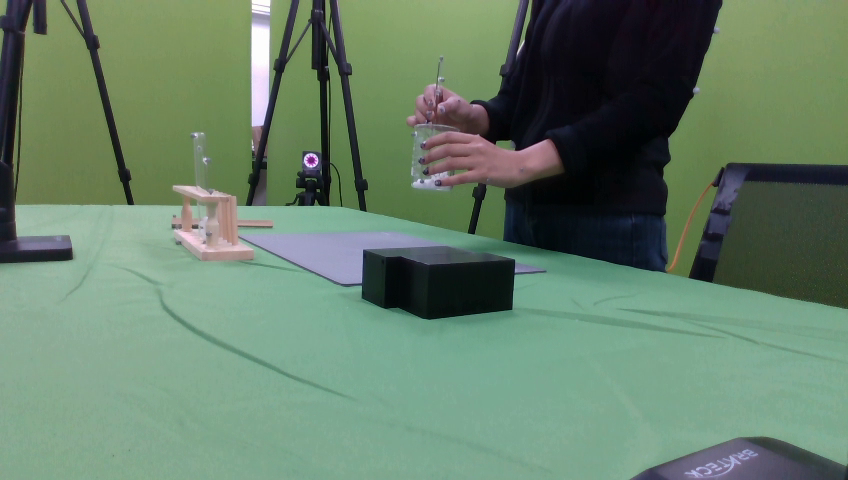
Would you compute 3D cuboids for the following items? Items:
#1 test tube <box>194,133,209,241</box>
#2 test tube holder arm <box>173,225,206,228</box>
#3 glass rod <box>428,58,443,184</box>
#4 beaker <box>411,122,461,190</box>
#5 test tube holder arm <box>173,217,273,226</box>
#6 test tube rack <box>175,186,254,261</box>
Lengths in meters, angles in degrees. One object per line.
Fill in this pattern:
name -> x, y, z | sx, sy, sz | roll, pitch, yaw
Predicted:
test tube -> -0.307, -0.074, 0.842 | 0.017, 0.150, 0.017 | -3, 2, 0
test tube holder arm -> -0.415, -0.030, 1.113 | 0.088, 0.015, 0.010 | -1, -21, -25
glass rod -> 0.019, -0.190, 0.975 | 0.008, 0.199, 0.008 | 5, 11, -1
beaker -> 0.016, -0.132, 0.963 | 0.074, 0.100, 0.083 | 4, 3, -14
test tube holder arm -> -0.371, -0.033, 1.128 | 0.179, 0.015, 0.013 | -1, -22, -25
test tube rack -> -0.314, -0.031, 0.889 | 0.067, 0.085, 0.241 | -2, 8, -30
